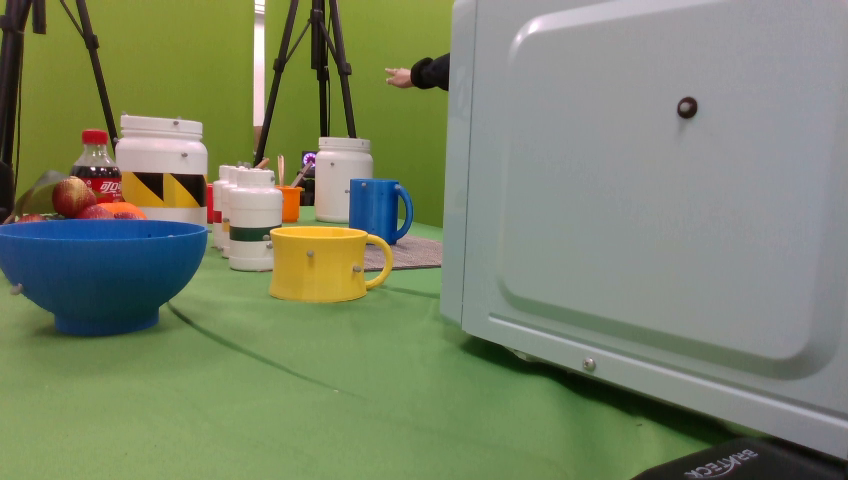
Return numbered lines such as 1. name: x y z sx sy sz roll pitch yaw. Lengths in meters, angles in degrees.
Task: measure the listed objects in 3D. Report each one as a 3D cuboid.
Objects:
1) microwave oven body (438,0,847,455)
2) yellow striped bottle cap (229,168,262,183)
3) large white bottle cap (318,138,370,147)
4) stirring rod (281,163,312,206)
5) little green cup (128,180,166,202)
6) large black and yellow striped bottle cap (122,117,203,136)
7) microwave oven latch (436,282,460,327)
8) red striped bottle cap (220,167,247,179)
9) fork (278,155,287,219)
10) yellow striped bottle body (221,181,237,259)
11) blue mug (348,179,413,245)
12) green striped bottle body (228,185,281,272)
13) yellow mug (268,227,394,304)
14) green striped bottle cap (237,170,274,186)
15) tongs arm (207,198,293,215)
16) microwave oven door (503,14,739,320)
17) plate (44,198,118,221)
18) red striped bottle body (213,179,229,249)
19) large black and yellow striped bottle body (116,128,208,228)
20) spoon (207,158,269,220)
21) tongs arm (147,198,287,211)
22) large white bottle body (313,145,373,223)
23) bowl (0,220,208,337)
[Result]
1. microwave oven body: 0.280 -0.039 0.464 0.444 0.260 0.324 -3 8 -41
2. yellow striped bottle cap: -0.240 -0.087 0.816 0.044 0.018 0.044 -2 5 1
3. large white bottle cap: -0.179 -0.218 1.351 0.115 0.018 0.115 2 8 0
4. stirring rod: -0.292 -0.111 1.323 0.014 0.006 0.176 2 47 30
5. little green cup: -0.485 -0.087 1.062 0.061 0.038 0.061 -1 6 0
6. large black and yellow striped bottle cap: -0.399 -0.174 0.927 0.115 0.019 0.115 5 9 -1
7. microwave oven latch: 0.045 0.046 0.471 0.079 0.029 0.030 -3 8 -41
8. red striped bottle cap: -0.281 -0.100 0.901 0.044 0.017 0.044 -1 4 0
9. fork: -0.318 -0.120 1.342 0.028 0.018 0.206 0 52 -13
10. yellow striped bottle body: -0.244 -0.036 0.824 0.063 0.120 0.063 2 8 0
11. blue mug: -0.071 -0.047 1.002 0.116 0.106 0.082 6 9 26
12. green striped bottle body: -0.208 -0.023 0.745 0.063 0.119 0.063 2 7 0
13. yellow mug: -0.094 0.023 0.630 0.131 0.064 0.099 0 7 -22
14. green striped bottle cap: -0.205 -0.075 0.737 0.044 0.020 0.044 1 6 0
15. tongs arm: -0.423 -0.084 1.472 0.050 0.026 0.386 2 6 21
16. microwave oven door: 0.218 -0.065 0.600 0.358 0.243 0.039 -4 10 -41
17. plate: -0.617 -0.056 1.179 0.209 0.038 0.209 3 7 0
18. red striped bottle body: -0.284 -0.048 0.909 0.063 0.119 0.063 3 10 0
19. large black and yellow striped bottle body: -0.404 -0.089 0.937 0.131 0.184 0.130 3 7 0
20. spoon: -0.380 -0.108 1.251 0.041 0.022 0.194 4 51 39
21. tongs arm: -0.504 -0.091 1.513 0.028 0.028 0.389 0 4 37
22. large white bottle body: -0.182 -0.135 1.362 0.131 0.184 0.130 2 7 0
23. bowl: -0.251 0.029 0.479 0.151 0.077 0.151 2 7 0
